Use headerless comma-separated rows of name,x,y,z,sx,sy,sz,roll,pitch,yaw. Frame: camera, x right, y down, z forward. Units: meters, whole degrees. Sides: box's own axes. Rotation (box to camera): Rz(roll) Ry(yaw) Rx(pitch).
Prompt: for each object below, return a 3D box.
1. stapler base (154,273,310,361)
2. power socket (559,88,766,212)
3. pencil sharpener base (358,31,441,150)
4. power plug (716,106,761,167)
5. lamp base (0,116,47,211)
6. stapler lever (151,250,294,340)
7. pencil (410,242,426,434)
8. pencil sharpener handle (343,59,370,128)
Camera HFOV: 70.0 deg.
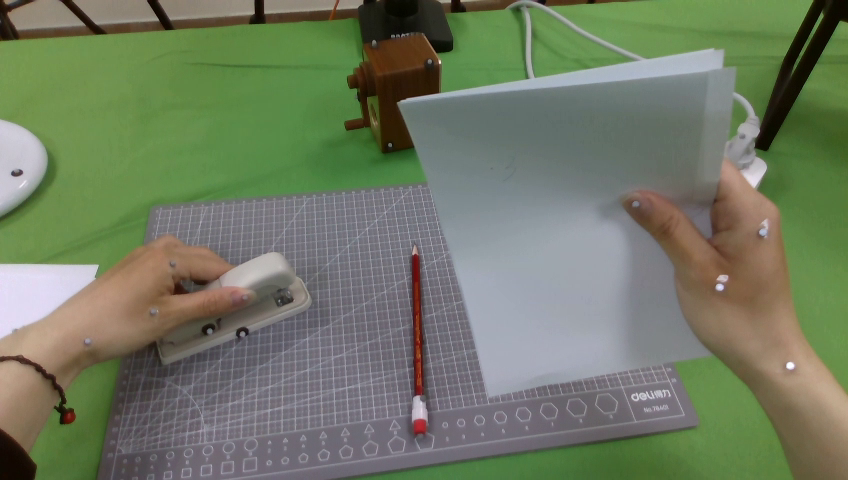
stapler base,-0.164,0.058,0.517,0.131,0.024,0.041,-22,51,-17
power socket,0.260,-0.103,0.665,0.225,0.033,0.072,32,55,24
pencil sharpener base,-0.028,-0.159,0.655,0.077,0.108,0.060,-15,52,-13
power plug,0.335,-0.099,0.633,0.072,0.053,0.035,-33,58,-25
lamp base,-0.480,-0.128,0.566,0.160,0.182,0.177,-32,55,-26
stapler lever,-0.165,0.043,0.497,0.118,0.040,0.026,-21,51,-17
pencil,-0.007,0.073,0.518,0.012,0.012,0.192,-1,48,-2
pencil sharpener handle,-0.074,-0.151,0.630,0.031,0.068,0.035,-15,29,-13
